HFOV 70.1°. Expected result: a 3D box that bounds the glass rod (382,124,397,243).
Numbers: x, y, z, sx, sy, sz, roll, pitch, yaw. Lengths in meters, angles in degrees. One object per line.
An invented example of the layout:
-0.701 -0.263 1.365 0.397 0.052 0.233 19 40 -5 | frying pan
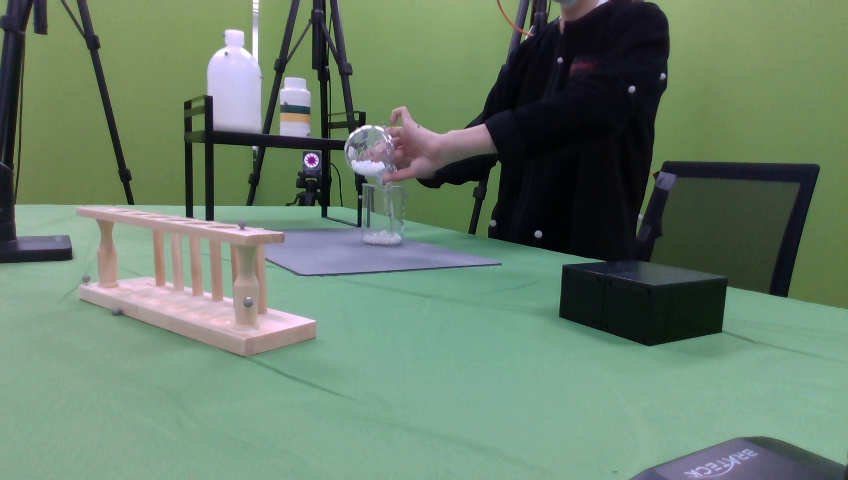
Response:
-0.058 -0.094 1.001 0.008 0.199 0.008 -6 -4 0 | glass rod

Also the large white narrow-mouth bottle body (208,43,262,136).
-0.368 -0.304 1.181 0.102 0.194 0.101 2 9 0 | large white narrow-mouth bottle body

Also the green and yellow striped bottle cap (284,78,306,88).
-0.268 -0.325 1.259 0.045 0.020 0.045 5 8 0 | green and yellow striped bottle cap

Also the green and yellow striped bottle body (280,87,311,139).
-0.269 -0.274 1.266 0.063 0.119 0.063 3 7 0 | green and yellow striped bottle body

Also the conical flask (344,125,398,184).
-0.070 -0.119 0.915 0.075 0.075 0.122 4 -11 10 | conical flask

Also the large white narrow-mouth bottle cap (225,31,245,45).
-0.365 -0.388 1.166 0.038 0.024 0.037 2 9 0 | large white narrow-mouth bottle cap

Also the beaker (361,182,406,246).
-0.067 -0.042 0.993 0.074 0.100 0.084 1 8 -8 | beaker

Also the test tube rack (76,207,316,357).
-0.196 0.023 0.500 0.241 0.085 0.067 8 9 36 | test tube rack
